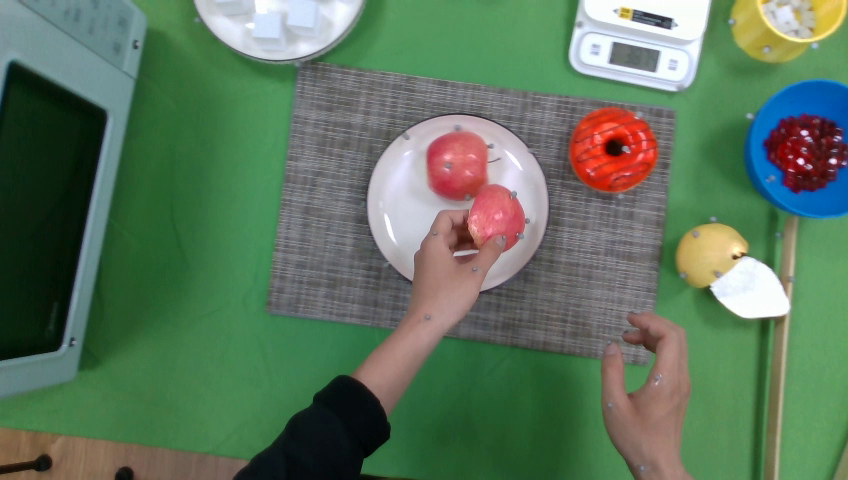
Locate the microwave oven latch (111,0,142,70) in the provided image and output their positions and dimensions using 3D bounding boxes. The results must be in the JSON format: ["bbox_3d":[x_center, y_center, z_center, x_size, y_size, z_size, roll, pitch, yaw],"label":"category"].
[{"bbox_3d":[-0.347,-0.238,0.692,0.030,0.029,0.079,13,88,1],"label":"microwave oven latch"}]

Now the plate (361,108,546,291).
[{"bbox_3d":[0.033,-0.045,0.695,0.209,0.038,0.208,0,87,0],"label":"plate"}]

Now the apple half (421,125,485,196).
[{"bbox_3d":[0.032,-0.092,0.680,0.074,0.053,0.081,2,90,2],"label":"apple half"}]

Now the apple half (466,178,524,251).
[{"bbox_3d":[0.082,-0.025,0.641,0.082,0.032,0.081,2,87,-44],"label":"apple half"}]

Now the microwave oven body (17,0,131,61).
[{"bbox_3d":[-0.525,-0.097,0.590,0.326,0.260,0.441,10,88,1],"label":"microwave oven body"}]

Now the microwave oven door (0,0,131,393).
[{"bbox_3d":[-0.389,-0.029,0.581,0.039,0.244,0.355,10,87,2],"label":"microwave oven door"}]

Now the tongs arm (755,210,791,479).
[{"bbox_3d":[0.409,0.159,0.688,0.051,0.026,0.384,8,88,-5],"label":"tongs arm"}]

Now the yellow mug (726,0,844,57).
[{"bbox_3d":[0.405,-0.284,0.694,0.100,0.064,0.130,-25,86,0],"label":"yellow mug"}]

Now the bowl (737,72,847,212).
[{"bbox_3d":[0.416,-0.102,0.680,0.151,0.077,0.151,0,88,1],"label":"bowl"}]

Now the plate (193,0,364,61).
[{"bbox_3d":[-0.167,-0.309,0.713,0.208,0.039,0.207,0,87,0],"label":"plate"}]

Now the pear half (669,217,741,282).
[{"bbox_3d":[0.305,0.005,0.659,0.056,0.110,0.076,39,84,4],"label":"pear half"}]

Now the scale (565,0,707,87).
[{"bbox_3d":[0.256,-0.291,0.712,0.148,0.031,0.200,12,88,2],"label":"scale"}]

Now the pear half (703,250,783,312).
[{"bbox_3d":[0.362,0.051,0.693,0.087,0.031,0.070,34,84,15],"label":"pear half"}]

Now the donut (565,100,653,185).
[{"bbox_3d":[0.210,-0.111,0.694,0.099,0.048,0.099,0,87,4],"label":"donut"}]

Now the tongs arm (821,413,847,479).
[{"bbox_3d":[0.493,0.178,0.693,0.028,0.027,0.387,23,88,-7],"label":"tongs arm"}]
